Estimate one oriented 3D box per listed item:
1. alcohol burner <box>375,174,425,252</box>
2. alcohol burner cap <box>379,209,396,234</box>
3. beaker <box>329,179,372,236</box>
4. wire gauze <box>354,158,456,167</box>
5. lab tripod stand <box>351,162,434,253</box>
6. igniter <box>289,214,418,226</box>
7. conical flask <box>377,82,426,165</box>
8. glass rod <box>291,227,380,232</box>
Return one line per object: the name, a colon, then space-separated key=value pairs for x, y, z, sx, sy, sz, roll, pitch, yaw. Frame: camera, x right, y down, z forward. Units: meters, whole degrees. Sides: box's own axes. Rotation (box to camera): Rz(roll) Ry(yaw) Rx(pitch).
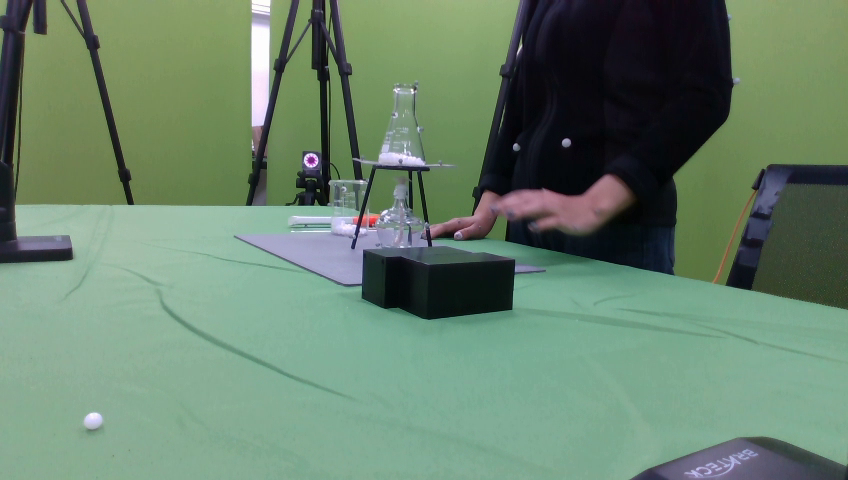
alcohol burner: x=-0.036 y=-0.042 z=0.934 sx=0.078 sy=0.119 sz=0.078 roll=1 pitch=9 yaw=0
alcohol burner cap: x=-0.069 y=-0.036 z=1.154 sx=0.034 sy=0.048 sz=0.034 roll=3 pitch=8 yaw=0
beaker: x=-0.137 y=-0.061 z=1.101 sx=0.084 sy=0.100 sz=0.074 roll=5 pitch=7 yaw=20
wire gauze: x=-0.030 y=-0.117 z=0.927 sx=0.122 sy=0.011 sz=0.124 roll=0 pitch=5 yaw=-36
lab tripod stand: x=-0.034 y=-0.052 z=0.933 sx=0.148 sy=0.131 sz=0.148 roll=4 pitch=7 yaw=0
igniter: x=-0.141 y=-0.042 z=1.258 sx=0.278 sy=0.025 sz=0.057 roll=-1 pitch=-2 yaw=-30
conical flask: x=-0.032 y=-0.175 z=0.918 sx=0.075 sy=0.122 sz=0.075 roll=3 pitch=8 yaw=0
glass rod: x=-0.161 y=-0.022 z=1.177 sx=0.201 sy=0.008 sz=0.008 roll=-3 pitch=8 yaw=-28
